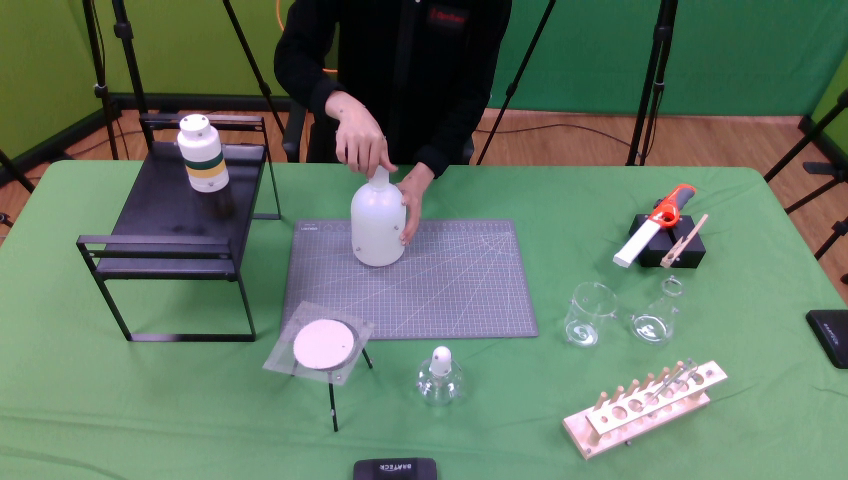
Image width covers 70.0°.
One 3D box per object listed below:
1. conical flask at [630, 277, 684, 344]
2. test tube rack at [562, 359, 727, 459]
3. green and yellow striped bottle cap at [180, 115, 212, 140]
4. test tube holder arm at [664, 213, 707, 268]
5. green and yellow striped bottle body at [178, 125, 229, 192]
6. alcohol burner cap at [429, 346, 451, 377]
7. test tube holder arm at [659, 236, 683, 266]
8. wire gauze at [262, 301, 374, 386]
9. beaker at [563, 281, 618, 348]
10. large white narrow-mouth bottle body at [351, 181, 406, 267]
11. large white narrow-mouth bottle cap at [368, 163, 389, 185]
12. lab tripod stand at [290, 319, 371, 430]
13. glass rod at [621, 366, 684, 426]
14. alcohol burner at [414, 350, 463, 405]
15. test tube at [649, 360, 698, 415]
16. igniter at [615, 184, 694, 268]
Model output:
[{"bbox_3d":[0.409,0.117,1.045,0.075,0.122,0.075,2,46,-2],"label":"conical flask"},{"bbox_3d":[0.341,0.247,0.940,0.243,0.085,0.066,-16,49,-19],"label":"test tube rack"},{"bbox_3d":[-0.358,-0.177,0.951,0.045,0.020,0.045,2,45,-2],"label":"green and yellow striped bottle cap"},{"bbox_3d":[0.507,-0.001,1.171,0.013,0.015,0.178,33,53,26],"label":"test tube holder arm"},{"bbox_3d":[-0.361,-0.142,0.989,0.063,0.120,0.063,2,46,-2],"label":"green and yellow striped bottle body"},{"bbox_3d":[0.026,0.180,0.912,0.034,0.048,0.033,1,47,-1],"label":"alcohol burner cap"},{"bbox_3d":[0.472,0.020,1.149,0.010,0.015,0.088,34,54,27],"label":"test tube holder arm"},{"bbox_3d":[-0.150,0.148,0.873,0.121,0.011,0.124,14,46,12],"label":"wire gauze"},{"bbox_3d":[0.283,0.129,1.041,0.074,0.101,0.083,11,46,6],"label":"beaker"},{"bbox_3d":[-0.084,-0.046,1.114,0.102,0.195,0.101,3,44,-2],"label":"large white narrow-mouth bottle body"},{"bbox_3d":[-0.078,-0.114,1.049,0.038,0.024,0.037,3,44,-2],"label":"large white narrow-mouth bottle cap"},{"bbox_3d":[-0.146,0.194,0.923,0.148,0.132,0.147,1,47,-1],"label":"lab tripod stand"},{"bbox_3d":[0.323,0.227,0.866,0.008,0.200,0.008,5,51,-7],"label":"glass rod"},{"bbox_3d":[0.023,0.205,0.939,0.078,0.120,0.077,1,47,-1],"label":"alcohol burner"},{"bbox_3d":[0.365,0.222,0.898,0.017,0.151,0.017,4,49,-5],"label":"test tube"},{"bbox_3d":[0.459,-0.035,1.197,0.057,0.025,0.276,32,55,27],"label":"igniter"}]
